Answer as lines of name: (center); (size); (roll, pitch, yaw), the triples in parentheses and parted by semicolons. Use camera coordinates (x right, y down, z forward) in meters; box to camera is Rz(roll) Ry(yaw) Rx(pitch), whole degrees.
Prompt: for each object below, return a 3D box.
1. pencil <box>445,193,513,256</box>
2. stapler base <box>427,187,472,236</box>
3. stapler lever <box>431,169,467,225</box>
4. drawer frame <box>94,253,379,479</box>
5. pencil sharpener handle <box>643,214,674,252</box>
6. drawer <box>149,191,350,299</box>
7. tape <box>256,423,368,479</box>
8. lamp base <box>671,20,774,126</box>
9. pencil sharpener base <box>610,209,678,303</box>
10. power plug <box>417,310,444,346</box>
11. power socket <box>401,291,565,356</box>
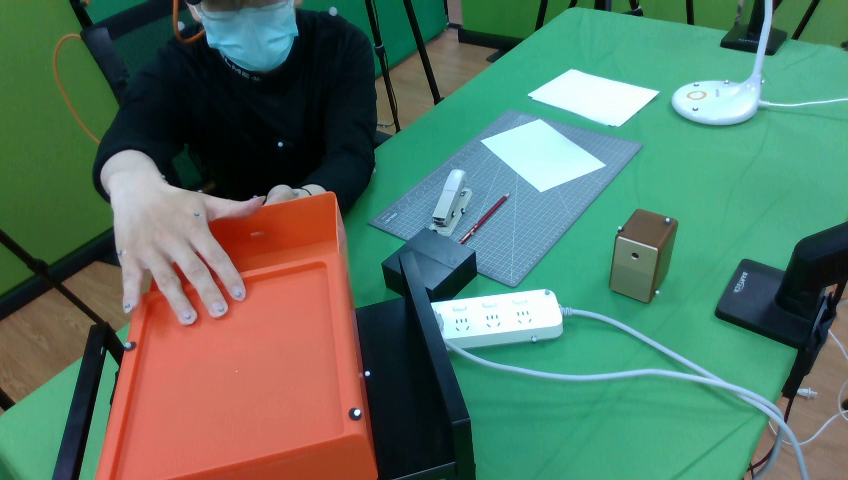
pencil: (0.095, -0.030, 0.999); (0.012, 0.012, 0.194); (24, 47, 31)
stapler base: (0.045, -0.057, 1.028); (0.041, 0.024, 0.130); (9, 44, 21)
stapler lever: (0.043, -0.074, 1.010); (0.026, 0.040, 0.118); (9, 44, 21)
drawer frame: (-0.154, 0.121, 0.529); (0.202, 0.083, 0.212); (-12, 41, -6)
pencil sharpener handle: (0.337, -0.016, 0.857); (0.035, 0.068, 0.031); (1, 35, 44)
drawer: (-0.175, 0.054, 0.616); (0.195, 0.073, 0.210); (-11, 42, -4)
tape: (-0.121, 0.263, 0.660); (0.117, 0.053, 0.116); (-5, 39, 4)
lamp base: (0.581, -0.332, 1.154); (0.179, 0.181, 0.160); (2, 41, 7)
pencil sharpener base: (0.304, 0.021, 0.839); (0.061, 0.107, 0.077); (21, 48, 30)
power plug: (0.006, 0.122, 0.785); (0.035, 0.053, 0.072); (0, 40, 9)
power socket: (0.080, 0.112, 0.822); (0.227, 0.033, 0.072); (-6, 41, 0)
